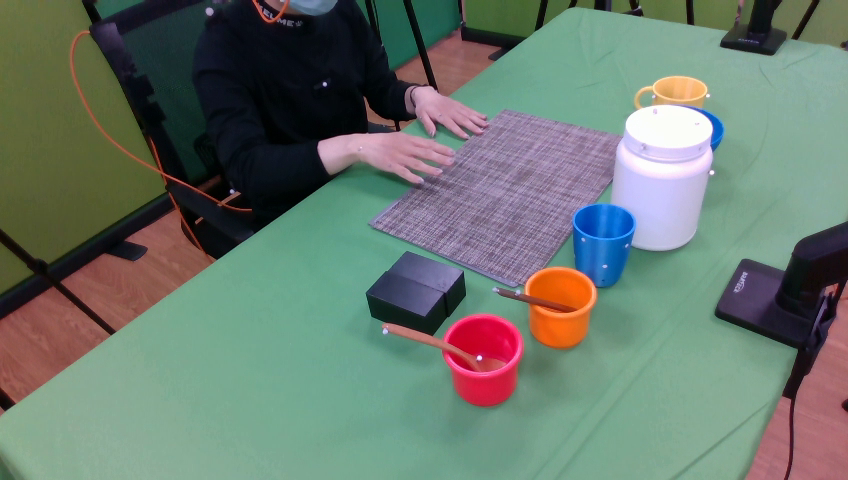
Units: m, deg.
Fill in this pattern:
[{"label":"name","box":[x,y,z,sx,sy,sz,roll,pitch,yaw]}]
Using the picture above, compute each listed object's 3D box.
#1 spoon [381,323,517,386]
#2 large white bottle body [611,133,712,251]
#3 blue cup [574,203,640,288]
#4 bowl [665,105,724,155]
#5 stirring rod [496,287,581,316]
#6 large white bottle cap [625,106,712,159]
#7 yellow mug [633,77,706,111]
[{"label":"spoon","box":[0.033,0.133,0.722,0.195,0.021,0.041,29,33,-26]},{"label":"large white bottle body","box":[0.351,-0.090,0.904,0.130,0.185,0.130,-5,41,4]},{"label":"blue cup","box":[0.254,0.013,0.864,0.092,0.100,0.092,-4,38,4]},{"label":"bowl","box":[0.438,-0.166,1.063,0.151,0.077,0.150,-4,41,4]},{"label":"stirring rod","box":[0.150,0.080,0.773,0.178,0.006,0.014,17,21,-42]},{"label":"large white bottle cap","box":[0.342,-0.153,0.848,0.115,0.018,0.114,-4,41,4]},{"label":"yellow mug","box":[0.478,-0.270,1.186,0.130,0.064,0.100,10,44,21]}]
